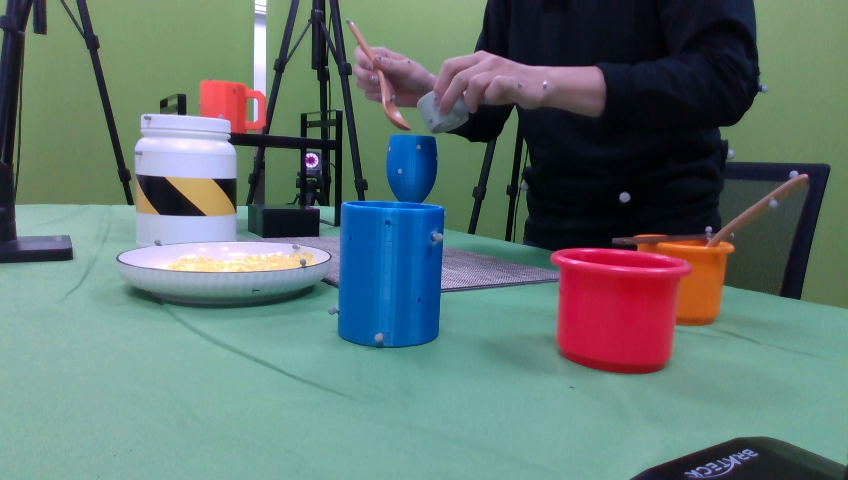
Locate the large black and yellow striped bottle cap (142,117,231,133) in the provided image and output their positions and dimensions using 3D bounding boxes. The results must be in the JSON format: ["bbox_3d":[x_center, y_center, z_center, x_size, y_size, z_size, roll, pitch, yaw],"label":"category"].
[{"bbox_3d":[-0.328,-0.159,0.839,0.115,0.019,0.115,1,9,0],"label":"large black and yellow striped bottle cap"}]

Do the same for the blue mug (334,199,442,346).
[{"bbox_3d":[-0.034,0.020,0.498,0.083,0.106,0.116,0,8,-20],"label":"blue mug"}]

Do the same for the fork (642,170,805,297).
[{"bbox_3d":[0.261,0.004,0.545,0.028,0.018,0.207,6,-37,-15],"label":"fork"}]

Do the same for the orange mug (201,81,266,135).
[{"bbox_3d":[-0.377,-0.259,1.197,0.126,0.101,0.083,-2,7,-6],"label":"orange mug"}]

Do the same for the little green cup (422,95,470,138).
[{"bbox_3d":[0.027,-0.153,0.757,0.061,0.038,0.061,5,-7,1],"label":"little green cup"}]

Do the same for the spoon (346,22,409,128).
[{"bbox_3d":[-0.067,-0.232,0.845,0.021,0.193,0.042,-32,-19,27],"label":"spoon"}]

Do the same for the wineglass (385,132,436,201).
[{"bbox_3d":[-0.020,-0.061,0.838,0.074,0.172,0.073,2,7,0],"label":"wineglass"}]

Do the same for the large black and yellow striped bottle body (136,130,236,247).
[{"bbox_3d":[-0.332,-0.076,0.851,0.131,0.184,0.130,3,8,0],"label":"large black and yellow striped bottle body"}]

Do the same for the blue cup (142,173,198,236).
[{"bbox_3d":[-0.425,-0.060,1.014,0.093,0.100,0.092,4,9,0],"label":"blue cup"}]

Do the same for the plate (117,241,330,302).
[{"bbox_3d":[-0.203,0.031,0.630,0.209,0.038,0.209,3,7,0],"label":"plate"}]

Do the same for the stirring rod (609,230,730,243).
[{"bbox_3d":[0.241,-0.004,0.582,0.177,0.006,0.014,-4,10,-33],"label":"stirring rod"}]
